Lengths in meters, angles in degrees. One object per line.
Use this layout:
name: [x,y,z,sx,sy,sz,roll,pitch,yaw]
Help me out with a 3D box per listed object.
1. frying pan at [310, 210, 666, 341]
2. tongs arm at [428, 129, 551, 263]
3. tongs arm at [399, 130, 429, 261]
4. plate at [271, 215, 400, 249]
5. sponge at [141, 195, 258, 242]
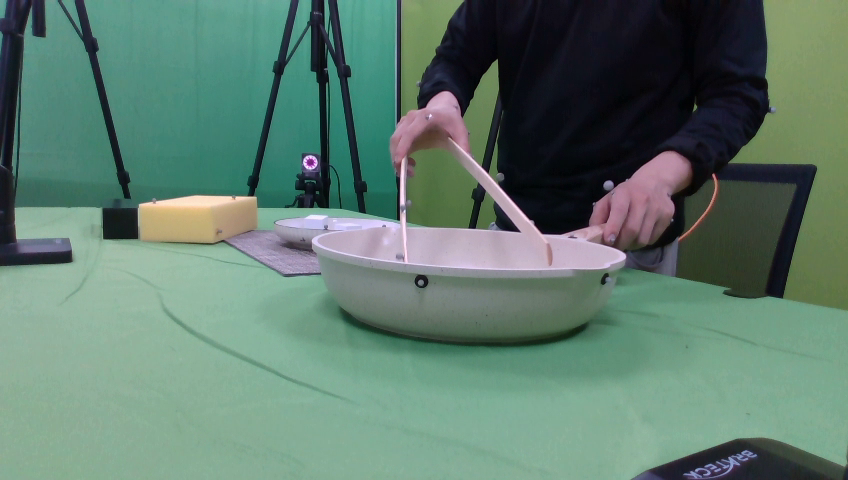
frying pan: [0.120,0.011,0.643,0.490,0.102,0.305,-13,16,-36]
tongs arm: [0.063,-0.069,0.704,0.028,0.028,0.386,-17,28,-7]
tongs arm: [-0.006,-0.058,0.699,0.051,0.026,0.384,-9,27,0]
plate: [-0.141,-0.011,0.978,0.208,0.039,0.207,3,7,0]
sponge: [-0.380,-0.040,1.047,0.118,0.061,0.207,1,8,3]
